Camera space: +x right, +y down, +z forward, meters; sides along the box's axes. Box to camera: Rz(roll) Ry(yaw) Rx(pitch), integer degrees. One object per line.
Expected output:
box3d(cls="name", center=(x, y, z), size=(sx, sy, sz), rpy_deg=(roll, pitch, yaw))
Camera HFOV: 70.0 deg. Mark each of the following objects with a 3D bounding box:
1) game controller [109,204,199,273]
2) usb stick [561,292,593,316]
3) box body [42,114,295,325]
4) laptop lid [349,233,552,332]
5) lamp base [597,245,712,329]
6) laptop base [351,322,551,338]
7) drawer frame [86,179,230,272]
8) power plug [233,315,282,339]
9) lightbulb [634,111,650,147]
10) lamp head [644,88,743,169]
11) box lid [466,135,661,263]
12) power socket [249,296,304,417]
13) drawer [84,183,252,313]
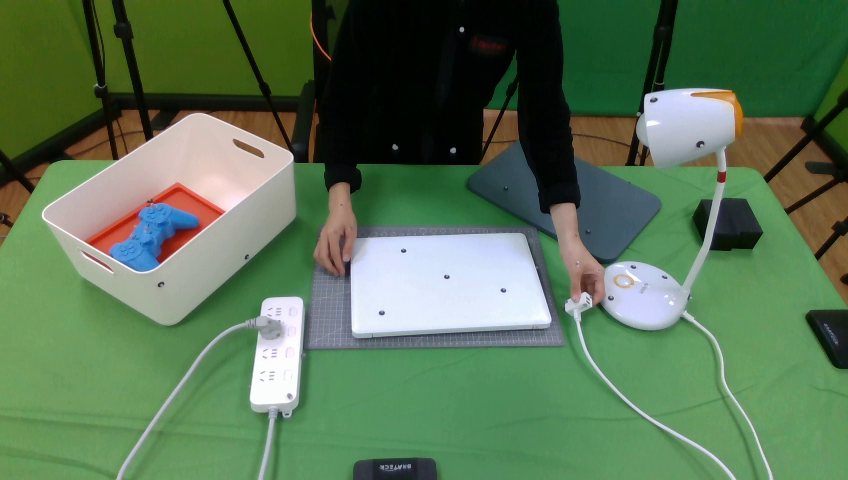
box3d(cls="game controller", center=(-0.467, -0.005, 1.044), size=(0.097, 0.052, 0.154), rpy_deg=(7, 45, 11))
box3d(cls="usb stick", center=(0.272, 0.117, 1.087), size=(0.021, 0.059, 0.027), rpy_deg=(35, 46, -25))
box3d(cls="box body", center=(-0.437, -0.046, 1.110), size=(0.253, 0.161, 0.363), rpy_deg=(24, 49, 19))
box3d(cls="laptop lid", center=(0.040, 0.070, 1.119), size=(0.357, 0.013, 0.240), rpy_deg=(-1, 44, -5))
box3d(cls="lamp base", center=(0.418, 0.051, 1.071), size=(0.179, 0.181, 0.160), rpy_deg=(22, 49, 13))
box3d(cls="laptop base", center=(0.040, 0.080, 1.126), size=(0.355, 0.023, 0.234), rpy_deg=(-2, 43, -6))
box3d(cls="drawer frame", center=(-0.453, 0.010, 1.100), size=(0.201, 0.083, 0.213), rpy_deg=(28, 54, 23))
box3d(cls="power plug", center=(-0.271, 0.144, 1.000), size=(0.072, 0.053, 0.035), rpy_deg=(5, 47, 3))
box3d(cls="lightbulb", center=(0.348, -0.163, 0.852), size=(0.059, 0.060, 0.107), rpy_deg=(-36, 19, -32))
box3d(cls="lamp head", center=(0.380, -0.161, 0.851), size=(0.122, 0.113, 0.112), rpy_deg=(-4, 42, 25))
box3d(cls="box lid", center=(0.306, -0.102, 1.327), size=(0.370, 0.015, 0.263), rpy_deg=(32, 52, 25))
box3d(cls="power socket", center=(-0.239, 0.182, 0.996), size=(0.072, 0.033, 0.225), rpy_deg=(-2, 47, -5))
box3d(cls="drawer", center=(-0.457, 0.008, 1.099), size=(0.194, 0.073, 0.211), rpy_deg=(29, 49, 21))
